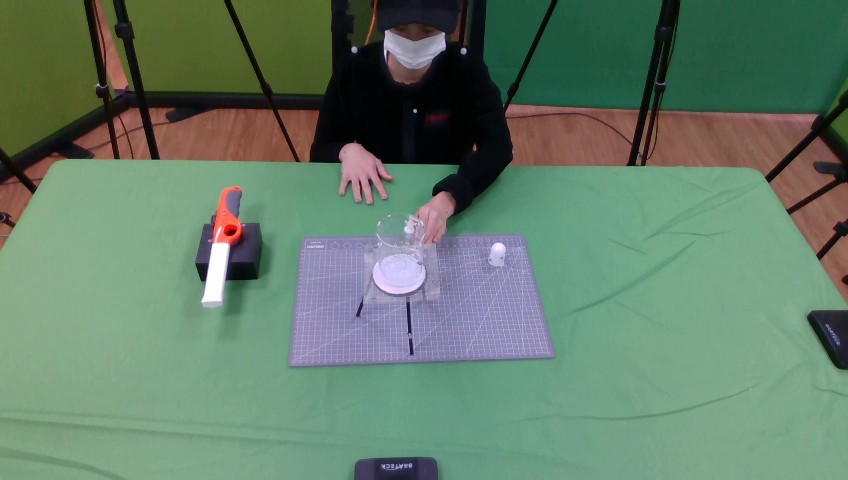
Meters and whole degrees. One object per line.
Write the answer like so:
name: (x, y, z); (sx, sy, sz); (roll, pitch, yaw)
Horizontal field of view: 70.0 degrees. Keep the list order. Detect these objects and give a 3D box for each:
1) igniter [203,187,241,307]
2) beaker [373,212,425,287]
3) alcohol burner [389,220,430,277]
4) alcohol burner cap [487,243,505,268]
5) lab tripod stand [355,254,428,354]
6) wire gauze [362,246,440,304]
igniter: (-0.365, 0.003, 1.098); (0.057, 0.025, 0.274); (-1, 49, -7)
beaker: (-0.036, 0.019, 0.936); (0.074, 0.101, 0.083); (-29, 54, -26)
alcohol burner: (-0.027, 0.010, 1.119); (0.078, 0.120, 0.077); (1, 44, -1)
alcohol burner cap: (0.141, 0.027, 1.166); (0.034, 0.048, 0.033); (2, 45, -2)
lab tripod stand: (-0.046, 0.100, 1.017); (0.148, 0.132, 0.147); (1, 47, -1)
wire gauze: (-0.038, 0.052, 0.972); (0.121, 0.011, 0.124); (0, 44, -5)
